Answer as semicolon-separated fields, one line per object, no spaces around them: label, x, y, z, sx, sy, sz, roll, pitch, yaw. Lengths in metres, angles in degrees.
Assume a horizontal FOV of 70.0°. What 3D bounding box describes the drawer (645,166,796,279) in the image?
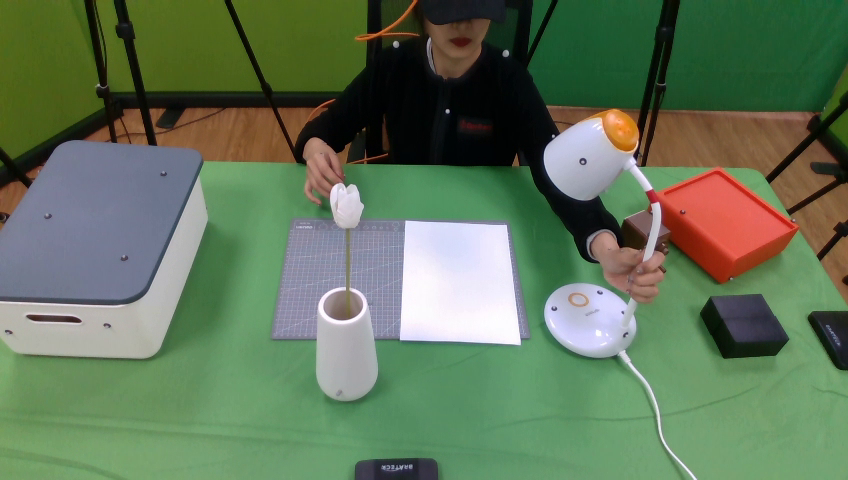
drawer;0.600;-0.040;1.236;0.195;0.073;0.210;-21;52;-23

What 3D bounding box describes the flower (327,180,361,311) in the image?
flower;-0.110;0.087;0.867;0.044;0.363;0.038;22;33;35

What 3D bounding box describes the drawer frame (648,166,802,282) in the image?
drawer frame;0.603;-0.040;1.233;0.202;0.083;0.212;-21;51;-23

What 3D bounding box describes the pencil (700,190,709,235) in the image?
pencil;0.583;-0.058;1.257;0.012;0.012;0.193;16;35;12

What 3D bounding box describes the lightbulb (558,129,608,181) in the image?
lightbulb;0.241;-0.130;0.904;0.059;0.108;0.059;6;65;-13

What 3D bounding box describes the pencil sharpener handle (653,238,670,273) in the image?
pencil sharpener handle;0.444;0.030;1.120;0.036;0.068;0.030;-25;52;-17

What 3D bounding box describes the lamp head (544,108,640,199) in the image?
lamp head;0.255;-0.131;0.882;0.113;0.123;0.112;11;66;-25

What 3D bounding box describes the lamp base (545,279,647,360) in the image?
lamp base;0.306;0.091;1.011;0.161;0.181;0.178;-26;55;-26

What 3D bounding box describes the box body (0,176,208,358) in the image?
box body;-0.546;0.017;1.045;0.254;0.161;0.361;2;46;-2

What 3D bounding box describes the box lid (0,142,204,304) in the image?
box lid;-0.533;-0.044;0.995;0.263;0.015;0.369;3;45;-3

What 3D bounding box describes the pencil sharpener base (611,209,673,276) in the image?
pencil sharpener base;0.416;0.007;1.158;0.061;0.107;0.076;-21;51;-22

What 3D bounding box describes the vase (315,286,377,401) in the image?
vase;-0.119;0.159;0.911;0.098;0.201;0.097;2;47;-2
